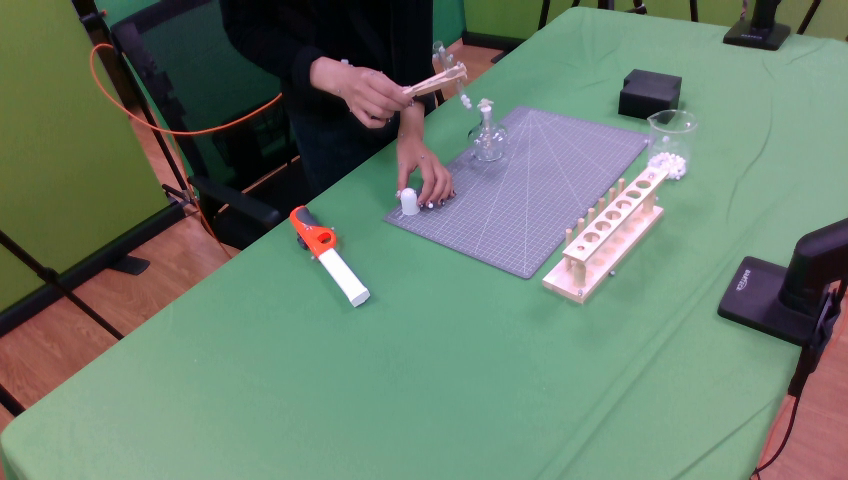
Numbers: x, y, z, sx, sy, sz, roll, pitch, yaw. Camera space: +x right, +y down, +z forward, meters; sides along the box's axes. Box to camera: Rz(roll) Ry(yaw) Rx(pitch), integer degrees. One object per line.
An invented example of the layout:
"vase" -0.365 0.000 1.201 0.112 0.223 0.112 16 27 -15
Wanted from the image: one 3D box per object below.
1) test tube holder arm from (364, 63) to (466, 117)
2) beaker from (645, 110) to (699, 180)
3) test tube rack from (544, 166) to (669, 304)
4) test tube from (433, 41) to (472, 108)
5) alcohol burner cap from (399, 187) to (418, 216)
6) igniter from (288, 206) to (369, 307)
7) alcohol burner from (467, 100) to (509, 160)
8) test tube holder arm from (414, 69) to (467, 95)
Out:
"test tube holder arm" -0.016 -0.237 0.961 0.178 0.015 0.013 -20 59 19
"beaker" 0.417 -0.160 1.032 0.083 0.101 0.074 25 51 34
"test tube rack" 0.274 -0.018 0.903 0.066 0.085 0.243 26 51 35
"test tube" 0.047 -0.253 0.940 0.017 0.151 0.017 -10 62 19
"alcohol burner cap" -0.028 -0.069 1.047 0.034 0.048 0.033 -3 36 2
"igniter" -0.163 0.017 0.986 0.057 0.025 0.274 -33 45 -12
"alcohol burner" 0.118 -0.210 1.130 0.078 0.119 0.077 -5 42 5
"test tube holder arm" 0.025 -0.245 0.943 0.087 0.015 0.010 -12 62 23
